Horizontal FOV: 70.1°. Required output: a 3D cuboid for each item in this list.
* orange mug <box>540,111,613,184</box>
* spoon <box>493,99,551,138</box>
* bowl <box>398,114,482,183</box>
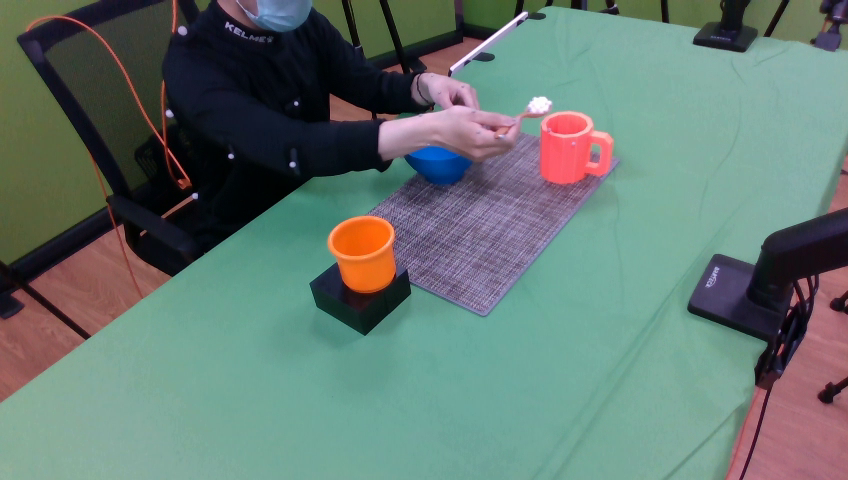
[{"bbox_3d":[0.263,-0.159,1.052,0.125,0.101,0.083,13,44,29],"label":"orange mug"},{"bbox_3d":[0.151,-0.193,0.949,0.041,0.021,0.194,22,32,24],"label":"spoon"},{"bbox_3d":[0.032,-0.156,1.096,0.151,0.077,0.150,-4,41,4],"label":"bowl"}]
